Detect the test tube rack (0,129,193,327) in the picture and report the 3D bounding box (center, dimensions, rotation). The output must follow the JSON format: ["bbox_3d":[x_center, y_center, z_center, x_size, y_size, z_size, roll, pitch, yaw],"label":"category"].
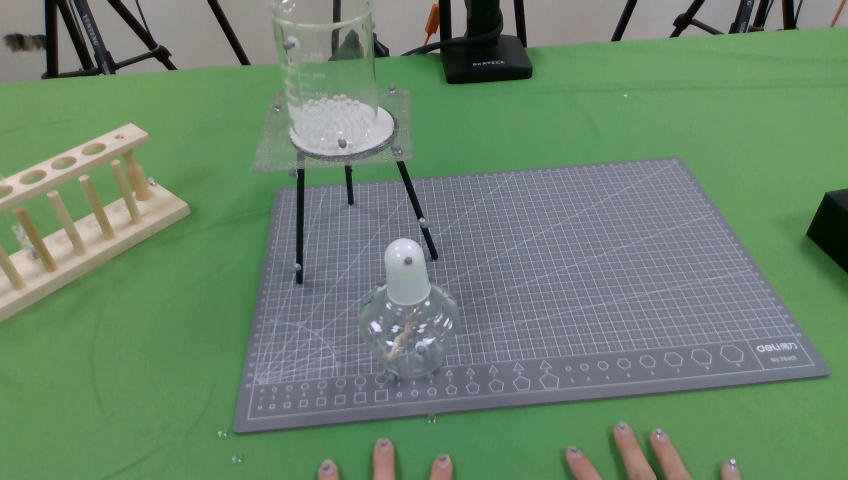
[{"bbox_3d":[-0.347,-0.006,0.557,0.066,0.086,0.242,29,50,31],"label":"test tube rack"}]

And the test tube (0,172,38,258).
[{"bbox_3d":[-0.371,-0.046,0.527,0.017,0.151,0.017,-3,36,3],"label":"test tube"}]

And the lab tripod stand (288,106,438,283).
[{"bbox_3d":[-0.059,-0.041,0.541,0.148,0.132,0.147,0,40,1],"label":"lab tripod stand"}]

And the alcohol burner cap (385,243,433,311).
[{"bbox_3d":[-0.011,0.023,0.425,0.034,0.048,0.033,-4,41,4],"label":"alcohol burner cap"}]

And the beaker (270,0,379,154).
[{"bbox_3d":[-0.074,-0.124,0.462,0.083,0.101,0.074,25,47,27],"label":"beaker"}]

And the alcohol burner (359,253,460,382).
[{"bbox_3d":[-0.011,0.051,0.449,0.078,0.120,0.077,0,43,1],"label":"alcohol burner"}]

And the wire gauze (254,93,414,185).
[{"bbox_3d":[-0.070,-0.089,0.496,0.121,0.011,0.124,-3,43,-1],"label":"wire gauze"}]
